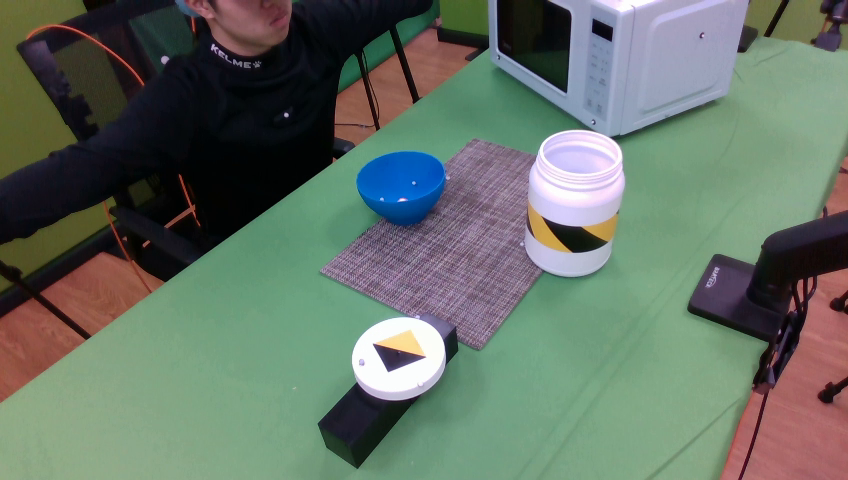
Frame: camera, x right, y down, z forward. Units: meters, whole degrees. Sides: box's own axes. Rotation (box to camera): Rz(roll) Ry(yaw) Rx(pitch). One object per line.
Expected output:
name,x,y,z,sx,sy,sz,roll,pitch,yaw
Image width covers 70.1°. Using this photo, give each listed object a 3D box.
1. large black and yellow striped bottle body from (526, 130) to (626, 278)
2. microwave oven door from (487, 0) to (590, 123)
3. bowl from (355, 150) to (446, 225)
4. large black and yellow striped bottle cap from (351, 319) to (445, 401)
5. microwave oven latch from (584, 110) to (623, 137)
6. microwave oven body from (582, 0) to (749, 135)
large black and yellow striped bottle body,0.216,-0.051,0.870,0.131,0.185,0.130,-2,43,2
microwave oven door,0.231,-0.420,1.230,0.039,0.245,0.352,-22,43,-16
bowl,-0.035,-0.078,1.017,0.151,0.077,0.150,-4,40,4
large black and yellow striped bottle cap,-0.031,0.143,0.735,0.115,0.019,0.114,-3,40,3
microwave oven latch,0.337,-0.222,1.142,0.030,0.029,0.078,-21,42,-14
microwave oven body,0.382,-0.444,1.246,0.327,0.261,0.437,-22,42,-16
